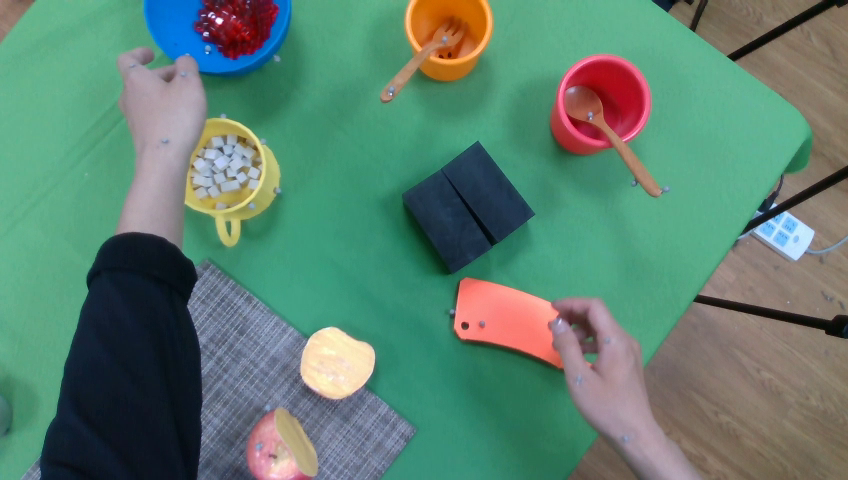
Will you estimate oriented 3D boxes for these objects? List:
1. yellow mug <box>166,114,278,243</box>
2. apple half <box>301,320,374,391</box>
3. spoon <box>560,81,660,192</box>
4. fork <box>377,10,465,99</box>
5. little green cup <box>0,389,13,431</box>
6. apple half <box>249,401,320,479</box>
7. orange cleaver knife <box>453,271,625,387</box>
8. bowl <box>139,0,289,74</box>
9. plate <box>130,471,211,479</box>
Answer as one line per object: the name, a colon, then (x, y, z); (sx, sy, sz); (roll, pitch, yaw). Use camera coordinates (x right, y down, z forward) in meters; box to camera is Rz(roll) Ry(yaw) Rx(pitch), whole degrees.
yellow mug: (-0.212, -0.062, 0.647); (0.100, 0.064, 0.130); (-5, 87, -2)
apple half: (-0.096, 0.130, 0.650); (0.081, 0.033, 0.080); (8, 53, -10)
spoon: (0.189, -0.111, 0.622); (0.041, 0.022, 0.191); (-17, 42, -2)
fork: (-0.001, -0.193, 0.618); (0.028, 0.019, 0.206); (31, 43, 1)
little green cup: (-0.473, 0.184, 0.641); (0.061, 0.038, 0.061); (0, 87, -1)
apple half: (-0.150, 0.213, 0.627); (0.053, 0.074, 0.081); (-33, 91, 1)
orange cleaver knife: (0.129, 0.098, 0.671); (0.211, 0.012, 0.077); (23, 83, 0)
bowl: (-0.214, -0.244, 0.651); (0.151, 0.077, 0.151); (0, 88, -2)
plate: (-0.266, 0.344, 0.634); (0.209, 0.038, 0.208); (0, 87, -1)
